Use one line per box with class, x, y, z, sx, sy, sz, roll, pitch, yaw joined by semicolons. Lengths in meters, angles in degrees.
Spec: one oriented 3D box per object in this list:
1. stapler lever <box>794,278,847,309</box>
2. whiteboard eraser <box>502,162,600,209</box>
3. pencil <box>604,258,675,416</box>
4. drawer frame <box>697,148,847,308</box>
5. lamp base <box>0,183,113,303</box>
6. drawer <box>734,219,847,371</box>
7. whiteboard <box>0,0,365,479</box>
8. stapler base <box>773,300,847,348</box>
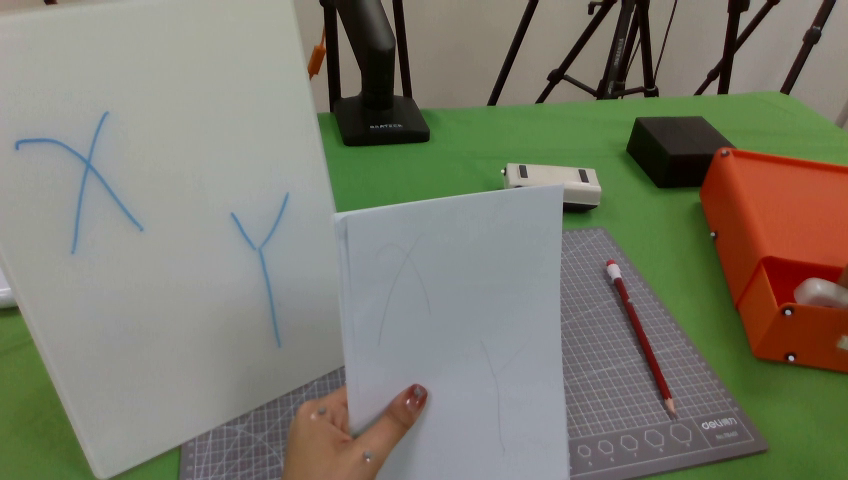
stapler lever;0.408;0.065;0.561;0.117;0.040;0.026;12;47;12
whiteboard eraser;0.152;-0.065;0.734;0.113;0.042;0.055;5;40;-2
pencil;0.202;0.084;0.573;0.012;0.012;0.192;1;40;-5
drawer frame;0.424;-0.005;0.658;0.201;0.083;0.212;8;38;4
lamp base;-0.396;-0.060;0.543;0.178;0.182;0.160;20;40;21
drawer;0.414;0.035;0.611;0.194;0.074;0.210;8;38;5
whiteboard;-0.195;-0.021;0.466;0.218;0.307;0.142;-21;26;-29
stapler base;0.406;0.081;0.577;0.130;0.024;0.041;14;47;10
